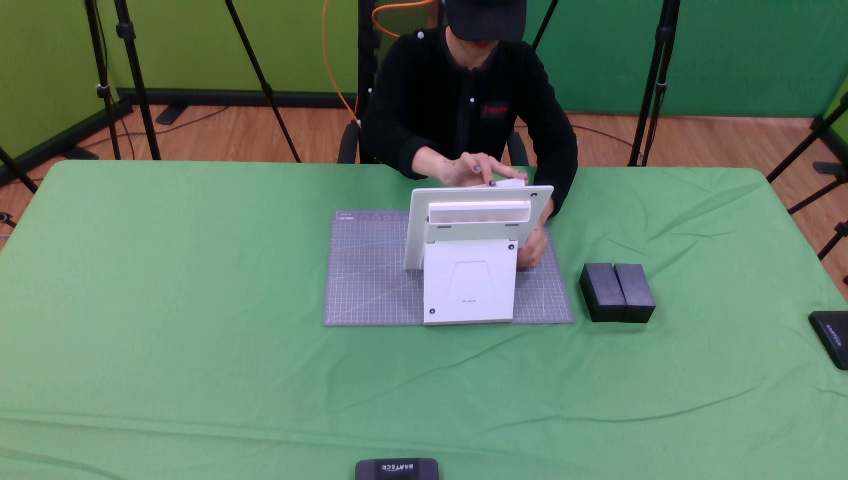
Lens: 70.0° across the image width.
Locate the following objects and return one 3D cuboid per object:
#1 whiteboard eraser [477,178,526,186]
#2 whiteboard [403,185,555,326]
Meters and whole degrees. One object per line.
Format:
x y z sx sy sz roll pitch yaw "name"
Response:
0.112 -0.065 0.976 0.112 0.056 0.041 -8 63 16 "whiteboard eraser"
0.081 0.044 1.005 0.217 0.306 0.143 -1 65 -5 "whiteboard"
